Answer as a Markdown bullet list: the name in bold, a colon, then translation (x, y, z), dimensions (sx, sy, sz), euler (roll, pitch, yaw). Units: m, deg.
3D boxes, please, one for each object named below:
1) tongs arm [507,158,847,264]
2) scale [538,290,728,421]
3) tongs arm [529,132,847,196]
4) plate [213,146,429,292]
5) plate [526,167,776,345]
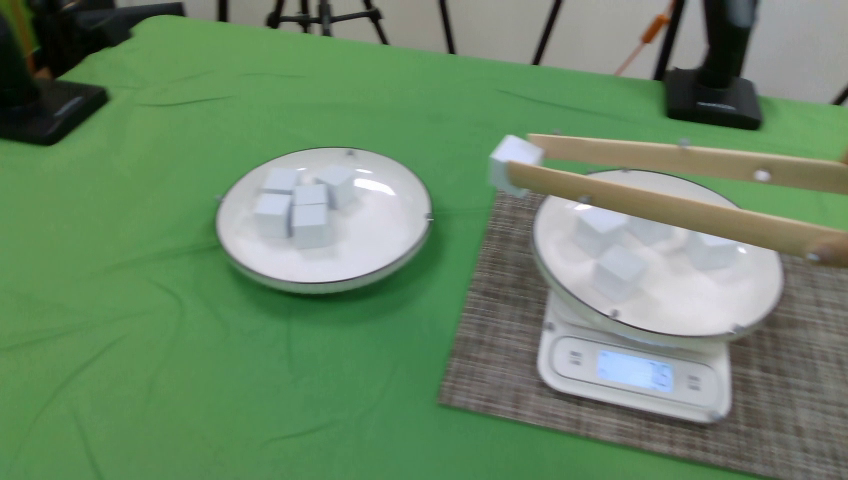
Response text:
- **tongs arm**: translation (0.215, -0.010, 0.351), dimensions (0.384, 0.028, 0.028), euler (16, 51, 36)
- **scale**: translation (0.185, 0.055, 0.534), dimensions (0.148, 0.032, 0.199), euler (11, 45, 10)
- **tongs arm**: translation (0.229, -0.026, 0.362), dimensions (0.382, 0.027, 0.050), euler (12, 52, 34)
- **plate**: translation (-0.099, -0.021, 0.605), dimensions (0.209, 0.038, 0.207), euler (2, 43, -1)
- **plate**: translation (0.192, 0.012, 0.532), dimensions (0.208, 0.039, 0.205), euler (2, 44, -1)
